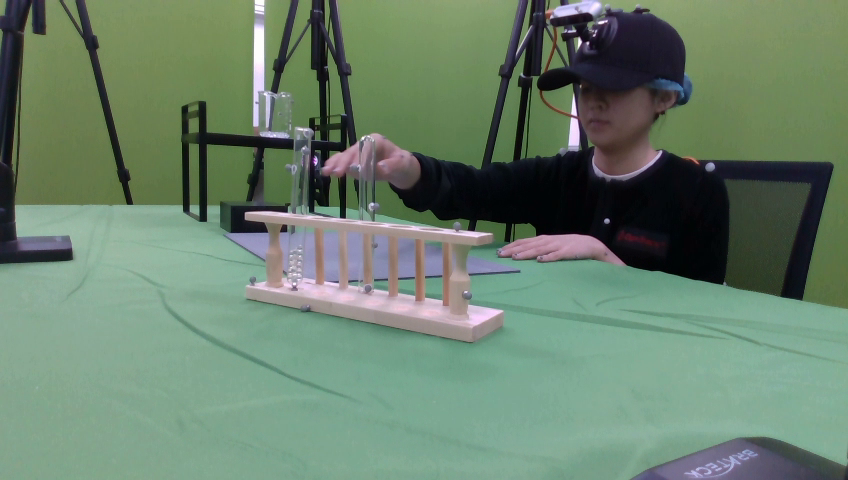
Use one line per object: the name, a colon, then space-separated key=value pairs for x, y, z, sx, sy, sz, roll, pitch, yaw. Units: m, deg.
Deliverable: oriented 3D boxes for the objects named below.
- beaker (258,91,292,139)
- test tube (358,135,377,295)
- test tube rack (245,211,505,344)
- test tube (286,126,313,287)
beaker: x=-0.331 y=-0.276 z=1.343 sx=0.074 sy=0.100 sz=0.083 roll=0 pitch=8 yaw=-20
test tube: x=-0.053 y=-0.022 z=0.565 sx=0.017 sy=0.150 sz=0.017 roll=2 pitch=6 yaw=0
test tube rack: x=-0.049 y=0.025 z=0.547 sx=0.241 sy=0.085 sz=0.067 roll=7 pitch=8 yaw=28
test tube: x=-0.116 y=-0.030 z=0.559 sx=0.017 sy=0.150 sz=0.017 roll=6 pitch=11 yaw=-1
